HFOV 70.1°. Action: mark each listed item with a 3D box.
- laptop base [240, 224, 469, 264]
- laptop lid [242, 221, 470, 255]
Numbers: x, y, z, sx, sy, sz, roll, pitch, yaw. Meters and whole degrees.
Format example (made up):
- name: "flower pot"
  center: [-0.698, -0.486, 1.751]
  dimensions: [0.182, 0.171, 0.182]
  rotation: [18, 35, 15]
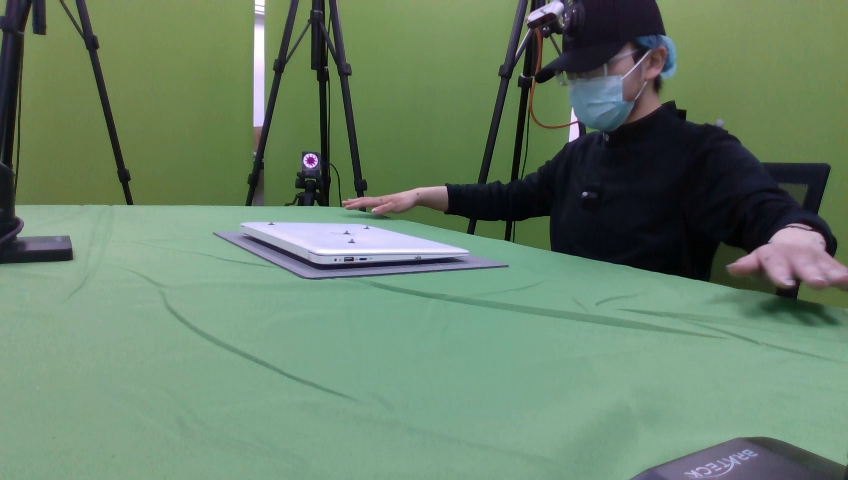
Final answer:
- name: "laptop base"
  center: [-0.123, 0.005, 0.936]
  dimensions: [0.237, 0.023, 0.352]
  rotation: [2, 6, -33]
- name: "laptop lid"
  center: [-0.121, -0.007, 0.936]
  dimensions: [0.243, 0.013, 0.355]
  rotation: [1, 7, -31]
